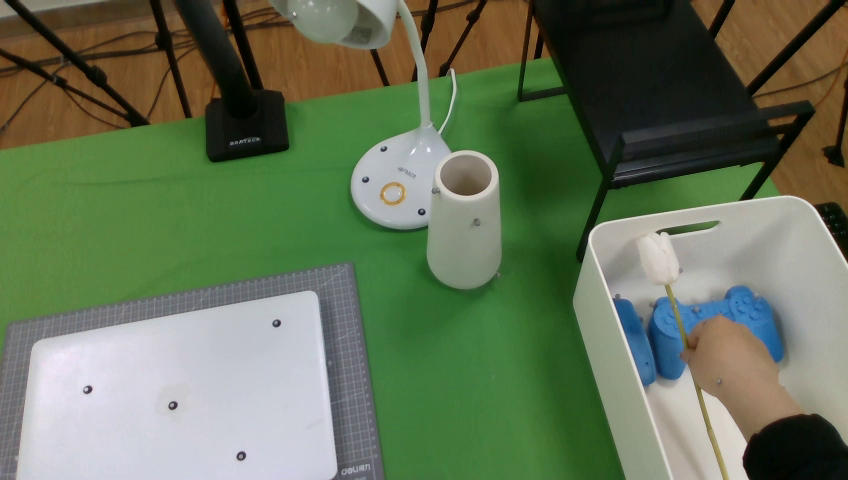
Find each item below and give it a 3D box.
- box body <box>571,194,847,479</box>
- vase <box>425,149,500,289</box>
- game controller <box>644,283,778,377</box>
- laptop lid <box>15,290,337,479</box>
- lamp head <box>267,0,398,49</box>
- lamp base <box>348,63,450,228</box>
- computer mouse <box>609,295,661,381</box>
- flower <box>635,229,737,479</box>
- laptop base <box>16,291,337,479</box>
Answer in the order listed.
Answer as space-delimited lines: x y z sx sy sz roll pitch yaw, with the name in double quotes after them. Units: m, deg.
0.325 0.155 0.640 0.254 0.162 0.360 -9 60 -3 "box body"
0.045 -0.021 0.730 0.098 0.202 0.097 -2 58 3 "vase"
0.344 0.104 0.731 0.155 0.052 0.096 -7 57 -4 "game controller"
-0.289 0.193 0.704 0.357 0.013 0.239 -9 62 -4 "laptop lid"
-0.066 -0.244 0.527 0.112 0.113 0.122 16 79 11 "lamp head"
-0.027 -0.135 0.810 0.160 0.182 0.178 19 59 13 "lamp base"
0.236 0.115 0.729 0.063 0.041 0.116 -12 50 -3 "computer mouse"
0.297 0.159 0.645 0.038 0.044 0.360 -21 76 28 "flower"
-0.289 0.197 0.715 0.355 0.023 0.233 -10 63 -5 "laptop base"
